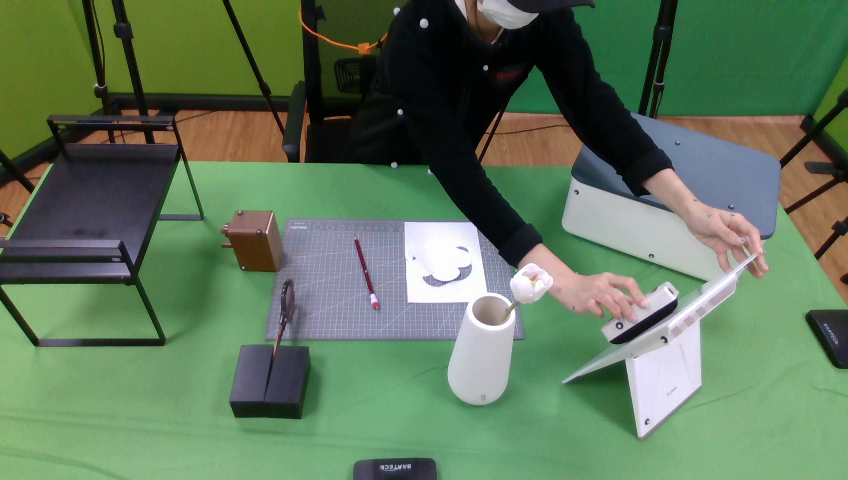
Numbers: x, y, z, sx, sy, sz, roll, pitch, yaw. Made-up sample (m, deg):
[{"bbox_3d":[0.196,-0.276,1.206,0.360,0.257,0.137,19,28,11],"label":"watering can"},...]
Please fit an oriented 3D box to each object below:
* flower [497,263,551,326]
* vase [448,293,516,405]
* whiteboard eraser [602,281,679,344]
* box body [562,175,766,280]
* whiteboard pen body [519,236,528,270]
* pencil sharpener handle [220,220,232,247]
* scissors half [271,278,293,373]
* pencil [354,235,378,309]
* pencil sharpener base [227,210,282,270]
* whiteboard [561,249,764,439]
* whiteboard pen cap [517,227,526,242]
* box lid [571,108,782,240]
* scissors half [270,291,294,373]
[{"bbox_3d":[0.103,0.121,0.852,0.044,0.363,0.038,-1,64,-9],"label":"flower"},{"bbox_3d":[0.091,0.169,0.921,0.098,0.201,0.097,3,47,-3],"label":"vase"},{"bbox_3d":[0.310,0.106,0.861,0.041,0.113,0.056,55,25,15],"label":"whiteboard eraser"},{"bbox_3d":[0.486,-0.088,1.222,0.363,0.161,0.253,20,48,15],"label":"box body"},{"bbox_3d":[0.194,0.035,1.180,0.017,0.017,0.140,6,49,2],"label":"whiteboard pen body"},{"bbox_3d":[-0.362,-0.009,1.104,0.030,0.068,0.036,1,52,1],"label":"pencil sharpener handle"},{"bbox_3d":[-0.236,0.137,0.994,0.013,0.040,0.174,1,55,2],"label":"scissors half"},{"bbox_3d":[-0.113,0.055,1.143,0.012,0.012,0.192,-10,46,-13],"label":"pencil"},{"bbox_3d":[-0.311,0.001,1.112,0.077,0.107,0.061,1,47,1],"label":"pencil sharpener base"},{"bbox_3d":[0.386,0.176,0.905,0.217,0.306,0.143,-26,72,-26],"label":"whiteboard"},{"bbox_3d":[0.196,-0.009,1.221,0.018,0.018,0.033,6,53,1],"label":"whiteboard pen cap"},{"bbox_3d":[0.491,-0.139,1.168,0.370,0.015,0.262,21,49,15],"label":"box lid"},{"bbox_3d":[-0.237,0.151,1.009,0.013,0.040,0.174,5,38,-2],"label":"scissors half"}]
